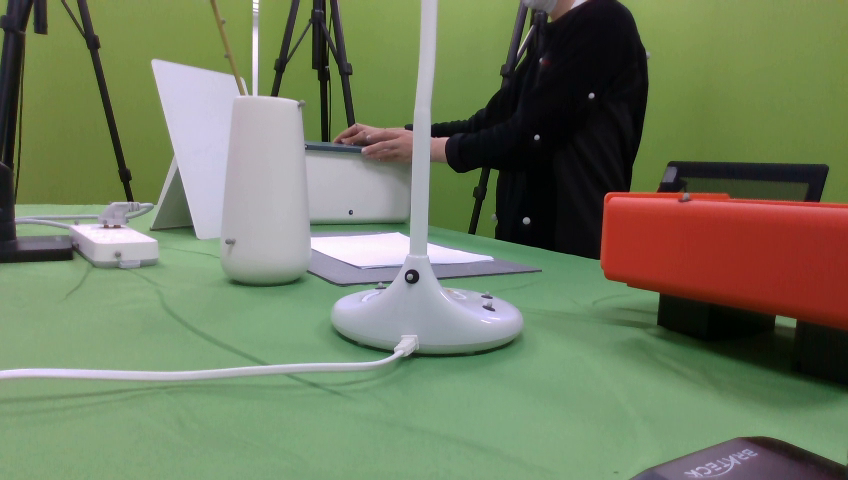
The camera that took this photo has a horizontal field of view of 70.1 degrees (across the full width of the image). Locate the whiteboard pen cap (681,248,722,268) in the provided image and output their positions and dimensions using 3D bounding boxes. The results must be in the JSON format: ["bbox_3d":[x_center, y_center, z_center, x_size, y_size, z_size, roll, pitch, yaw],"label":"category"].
[{"bbox_3d":[0.250,0.017,0.544,0.033,0.018,0.018,3,7,25],"label":"whiteboard pen cap"}]

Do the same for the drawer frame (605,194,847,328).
[{"bbox_3d":[0.298,0.007,0.497,0.203,0.082,0.212,-1,7,-34],"label":"drawer frame"}]

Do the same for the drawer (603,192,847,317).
[{"bbox_3d":[0.293,0.002,0.500,0.195,0.073,0.210,-1,8,-34],"label":"drawer"}]

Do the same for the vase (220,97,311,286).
[{"bbox_3d":[-0.172,-0.052,0.662,0.098,0.200,0.098,3,9,0],"label":"vase"}]

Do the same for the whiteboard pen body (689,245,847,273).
[{"bbox_3d":[0.303,0.016,0.519,0.140,0.017,0.017,5,8,25],"label":"whiteboard pen body"}]

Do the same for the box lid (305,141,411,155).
[{"bbox_3d":[-0.222,-0.209,1.353,0.373,0.015,0.262,-2,11,-31],"label":"box lid"}]

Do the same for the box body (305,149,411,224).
[{"bbox_3d":[-0.230,-0.126,1.371,0.366,0.160,0.253,-2,8,-33],"label":"box body"}]

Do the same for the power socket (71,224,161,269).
[{"bbox_3d":[-0.408,0.004,0.793,0.072,0.032,0.225,-2,8,-38],"label":"power socket"}]

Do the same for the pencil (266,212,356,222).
[{"bbox_3d":[-0.244,-0.049,1.319,0.195,0.012,0.012,3,7,-12],"label":"pencil"}]

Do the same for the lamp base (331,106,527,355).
[{"bbox_3d":[0.006,-0.012,0.478,0.161,0.180,0.179,2,10,2],"label":"lamp base"}]

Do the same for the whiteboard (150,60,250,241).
[{"bbox_3d":[-0.408,-0.139,1.093,0.143,0.305,0.218,-15,-1,26],"label":"whiteboard"}]

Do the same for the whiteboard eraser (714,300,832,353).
[{"bbox_3d":[0.256,0.042,0.472,0.112,0.042,0.056,43,19,31],"label":"whiteboard eraser"}]

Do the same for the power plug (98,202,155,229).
[{"bbox_3d":[-0.416,-0.027,0.848,0.073,0.052,0.035,0,8,-28],"label":"power plug"}]

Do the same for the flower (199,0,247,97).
[{"bbox_3d":[-0.187,-0.133,0.648,0.038,0.362,0.044,-1,21,42],"label":"flower"}]
